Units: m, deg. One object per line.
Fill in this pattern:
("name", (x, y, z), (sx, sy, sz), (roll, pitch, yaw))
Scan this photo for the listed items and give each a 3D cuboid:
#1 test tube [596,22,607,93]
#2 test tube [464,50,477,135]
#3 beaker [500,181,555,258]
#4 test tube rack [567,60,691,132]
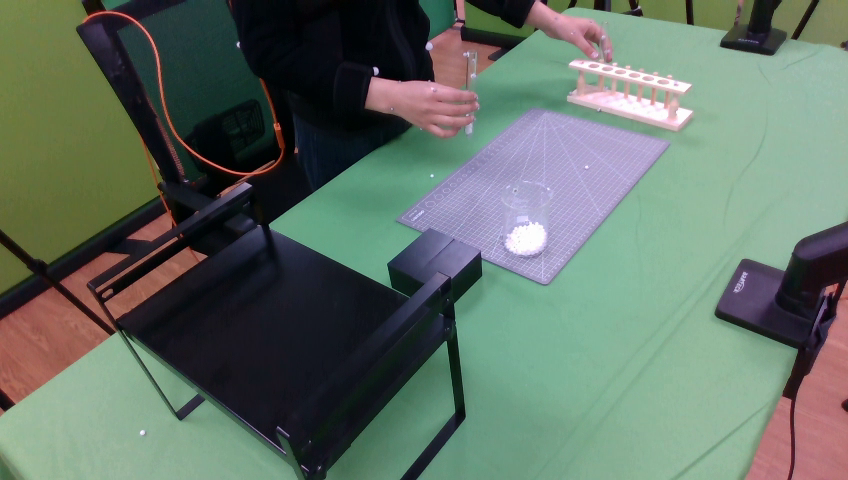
("test tube", (0.364, -0.372, 1.239), (0.017, 0.151, 0.017), (-6, 40, 5))
("test tube", (0.077, -0.244, 1.016), (0.017, 0.151, 0.017), (0, 39, 1))
("beaker", (0.159, -0.030, 0.922), (0.084, 0.100, 0.073), (-13, 41, -8))
("test tube rack", (0.411, -0.299, 1.217), (0.240, 0.085, 0.067), (26, 51, 34))
